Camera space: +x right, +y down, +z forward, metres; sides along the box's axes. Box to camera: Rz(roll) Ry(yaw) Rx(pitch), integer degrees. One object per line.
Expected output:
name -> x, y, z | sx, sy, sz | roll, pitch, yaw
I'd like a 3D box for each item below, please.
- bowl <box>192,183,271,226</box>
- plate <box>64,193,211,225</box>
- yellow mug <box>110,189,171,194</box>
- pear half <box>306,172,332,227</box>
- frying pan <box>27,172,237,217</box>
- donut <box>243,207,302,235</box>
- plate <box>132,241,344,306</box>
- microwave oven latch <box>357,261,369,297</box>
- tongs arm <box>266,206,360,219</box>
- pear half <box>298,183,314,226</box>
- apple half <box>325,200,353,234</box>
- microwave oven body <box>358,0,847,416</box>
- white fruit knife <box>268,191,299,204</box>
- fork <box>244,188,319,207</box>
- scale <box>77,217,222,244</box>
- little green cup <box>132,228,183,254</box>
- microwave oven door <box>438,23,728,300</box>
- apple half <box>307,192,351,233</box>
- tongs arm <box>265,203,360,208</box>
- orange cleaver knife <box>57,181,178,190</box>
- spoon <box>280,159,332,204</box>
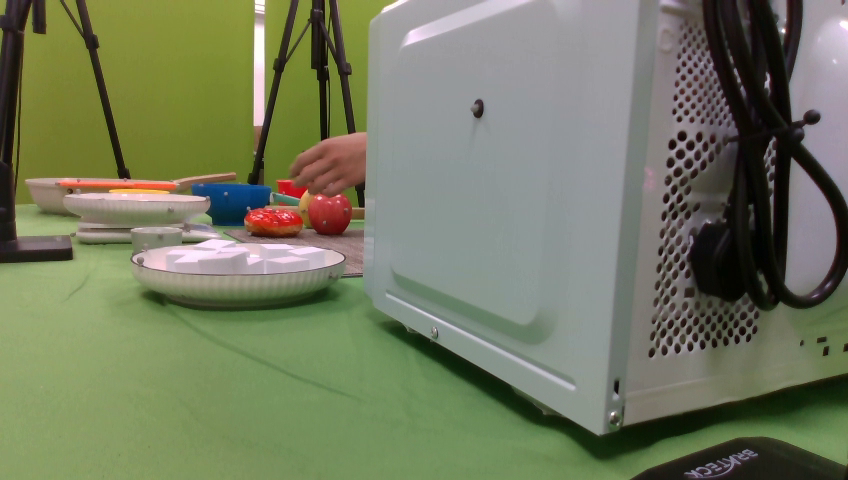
bowl -> -0.382, -0.071, 1.202 | 0.151, 0.077, 0.151 | 3, 7, 0
plate -> -0.446, -0.050, 0.952 | 0.209, 0.038, 0.209 | 2, 7, 0
yellow mug -> -0.519, -0.055, 1.080 | 0.099, 0.064, 0.131 | 7, 10, 26
pear half -> -0.199, -0.079, 1.203 | 0.056, 0.110, 0.076 | 3, 11, 1
frying pan -> -0.624, -0.118, 1.387 | 0.305, 0.102, 0.490 | 8, 17, 32
donut -> -0.261, -0.032, 1.043 | 0.099, 0.048, 0.099 | 4, 9, 0
plate -> -0.187, 0.033, 0.625 | 0.208, 0.039, 0.207 | 2, 7, 0
microwave oven latch -> -0.019, 0.033, 0.530 | 0.079, 0.029, 0.030 | -1, 7, -27
tongs arm -> -0.173, -0.061, 1.362 | 0.387, 0.026, 0.050 | -1, 4, -31
pear half -> -0.235, -0.071, 1.207 | 0.031, 0.088, 0.070 | 3, 10, 1
apple half -> -0.166, -0.050, 1.121 | 0.081, 0.081, 0.033 | 3, 12, 5
microwave oven body -> 0.211, -0.047, 0.474 | 0.444, 0.260, 0.324 | -1, 7, -28
white fruit knife -> -0.364, -0.105, 1.464 | 0.208, 0.027, 0.016 | 15, -1, -34
fork -> -0.356, -0.105, 1.526 | 0.208, 0.018, 0.028 | 16, -6, -41
scale -> -0.434, -0.018, 0.963 | 0.202, 0.031, 0.148 | -1, 8, -27
little green cup -> -0.342, 0.006, 0.779 | 0.061, 0.038, 0.061 | 2, 8, 0
microwave oven door -> 0.181, -0.073, 0.621 | 0.358, 0.243, 0.039 | -2, 8, -29
apple half -> -0.175, -0.049, 1.085 | 0.081, 0.074, 0.053 | 6, 12, 10
tongs arm -> -0.209, -0.070, 1.439 | 0.389, 0.027, 0.028 | 1, 0, -16
orange cleaver knife -> -0.600, -0.109, 1.189 | 0.212, 0.012, 0.077 | -1, 11, -26
spoon -> -0.316, -0.159, 1.640 | 0.194, 0.022, 0.041 | -50, 32, -20
